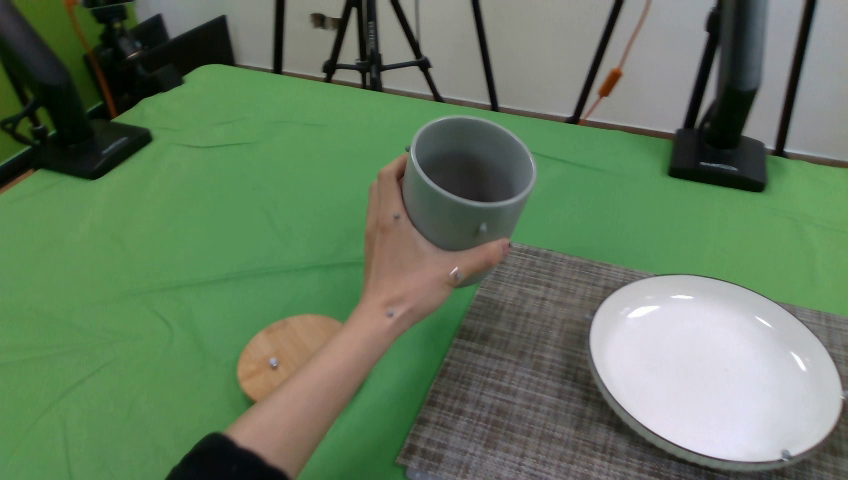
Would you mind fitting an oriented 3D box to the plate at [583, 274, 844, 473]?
[{"bbox_3d":[0.244,0.113,0.532,0.208,0.039,0.205,0,40,1],"label":"plate"}]

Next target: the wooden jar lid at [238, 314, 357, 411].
[{"bbox_3d":[-0.115,0.113,0.560,0.108,0.021,0.107,1,41,0],"label":"wooden jar lid"}]

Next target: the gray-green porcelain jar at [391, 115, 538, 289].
[{"bbox_3d":[0.029,-0.026,0.529,0.106,0.127,0.105,7,51,-9],"label":"gray-green porcelain jar"}]
